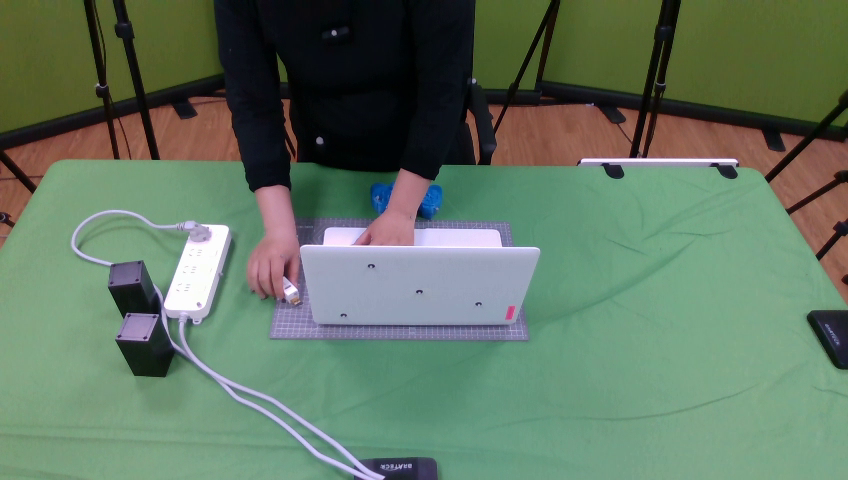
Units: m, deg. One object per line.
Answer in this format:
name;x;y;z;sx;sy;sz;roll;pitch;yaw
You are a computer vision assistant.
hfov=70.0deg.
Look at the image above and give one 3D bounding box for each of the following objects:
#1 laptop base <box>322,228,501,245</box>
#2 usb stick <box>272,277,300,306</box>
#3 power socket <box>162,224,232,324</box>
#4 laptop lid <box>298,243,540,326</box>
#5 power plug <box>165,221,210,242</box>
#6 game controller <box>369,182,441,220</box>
laptop base;-0.020;0.065;1.135;0.355;0.023;0.234;1;43;-4
usb stick;-0.243;0.094;1.081;0.021;0.027;0.059;-38;60;-24
power socket;-0.410;0.053;1.105;0.072;0.033;0.225;3;46;-2
laptop lid;-0.010;0.077;0.957;0.357;0.243;0.013;1;53;-5
power plug;-0.441;-0.014;1.142;0.072;0.053;0.035;7;45;8
game controller;-0.039;-0.090;1.267;0.155;0.052;0.096;1;50;-2
